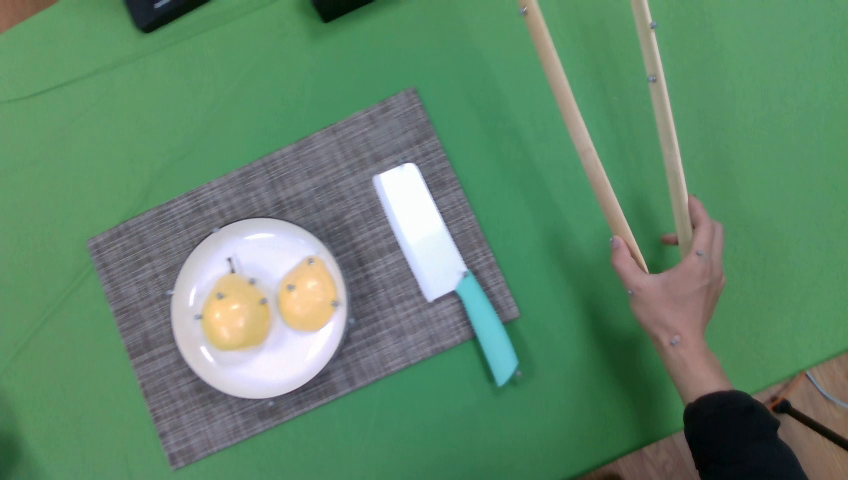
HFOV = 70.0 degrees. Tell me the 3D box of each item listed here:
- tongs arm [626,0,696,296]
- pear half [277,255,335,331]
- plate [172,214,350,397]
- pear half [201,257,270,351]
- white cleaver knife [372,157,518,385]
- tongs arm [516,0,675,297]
[{"bbox_3d":[0.221,-0.135,0.611,0.051,0.026,0.385,-15,92,-17],"label":"tongs arm"},{"bbox_3d":[-0.138,0.061,0.693,0.070,0.031,0.088,8,91,3],"label":"pear half"},{"bbox_3d":[-0.184,0.074,0.702,0.207,0.039,0.207,-1,85,6],"label":"plate"},{"bbox_3d":[-0.221,0.071,0.692,0.076,0.056,0.109,-14,79,0],"label":"pear half"},{"bbox_3d":[0.022,0.035,0.698,0.066,0.021,0.285,-29,79,11],"label":"white cleaver knife"},{"bbox_3d":[0.155,-0.113,0.593,0.028,0.027,0.388,-26,95,-20],"label":"tongs arm"}]
